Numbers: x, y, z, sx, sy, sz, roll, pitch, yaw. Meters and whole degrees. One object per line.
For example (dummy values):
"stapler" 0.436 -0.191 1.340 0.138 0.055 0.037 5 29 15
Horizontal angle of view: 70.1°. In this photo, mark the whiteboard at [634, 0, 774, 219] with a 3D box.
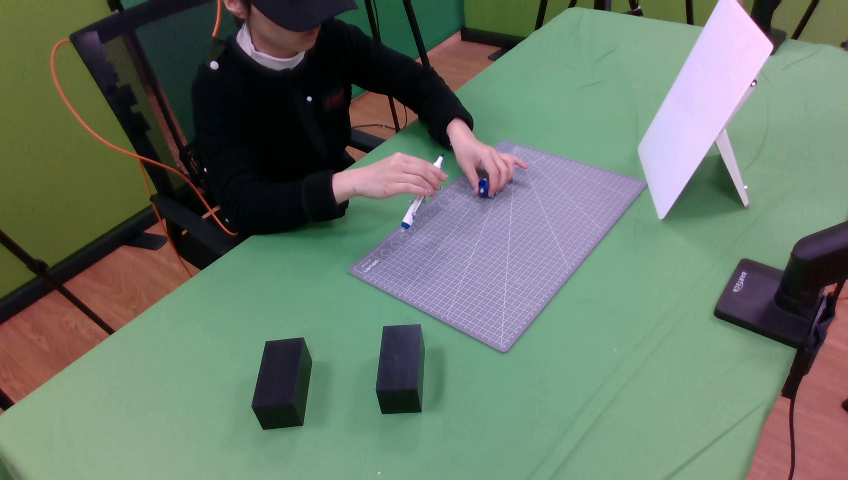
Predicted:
"whiteboard" 0.485 -0.192 0.957 0.144 0.305 0.216 14 41 -4

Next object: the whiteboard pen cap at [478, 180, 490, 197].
"whiteboard pen cap" 0.103 -0.089 1.040 0.018 0.033 0.018 -8 58 13

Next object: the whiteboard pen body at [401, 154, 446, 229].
"whiteboard pen body" 0.001 -0.079 0.956 0.017 0.017 0.140 21 74 29
